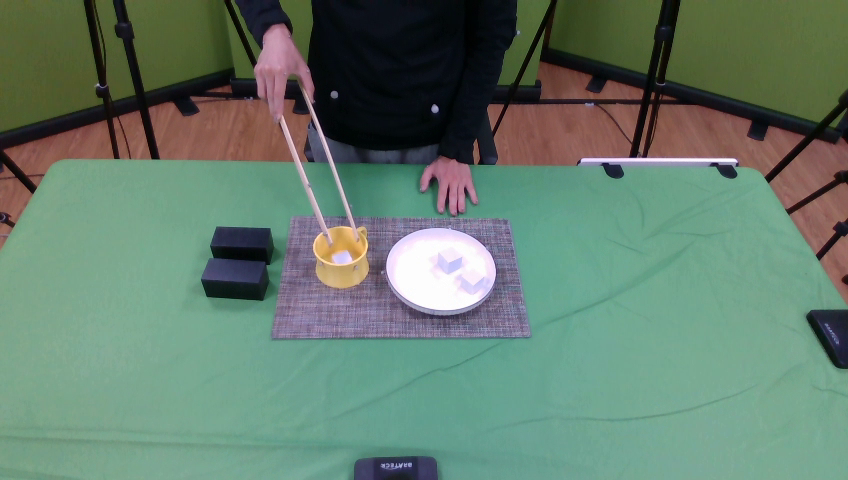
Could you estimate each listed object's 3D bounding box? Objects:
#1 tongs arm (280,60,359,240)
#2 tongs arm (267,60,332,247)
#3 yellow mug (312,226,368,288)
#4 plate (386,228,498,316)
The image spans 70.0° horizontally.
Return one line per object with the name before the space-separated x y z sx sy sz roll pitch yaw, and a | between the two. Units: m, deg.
tongs arm | -0.194 -0.174 1.133 0.028 0.028 0.386 -19 75 -16
tongs arm | -0.224 -0.166 1.122 0.051 0.026 0.383 -20 76 -20
yellow mug | -0.146 0.021 1.132 0.099 0.064 0.130 24 49 18
plate | 0.032 0.062 1.126 0.208 0.039 0.206 2 46 -2
